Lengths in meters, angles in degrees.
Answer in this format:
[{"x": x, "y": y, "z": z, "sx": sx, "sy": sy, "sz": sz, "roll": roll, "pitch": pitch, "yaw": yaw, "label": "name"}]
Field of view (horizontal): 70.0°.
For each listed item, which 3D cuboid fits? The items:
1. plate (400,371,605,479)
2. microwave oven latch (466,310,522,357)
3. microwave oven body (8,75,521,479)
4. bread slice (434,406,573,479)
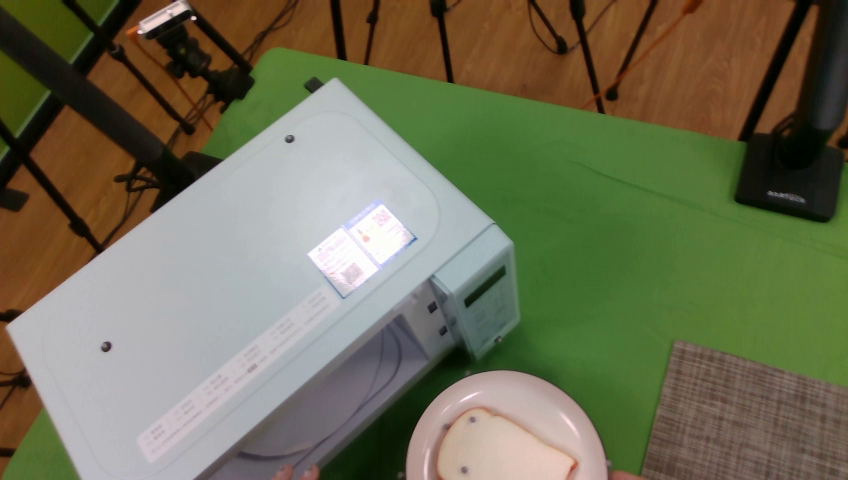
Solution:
[{"x": 0.081, "y": 0.243, "z": 0.633, "sx": 0.207, "sy": 0.039, "sz": 0.206, "roll": -3, "pitch": 61, "yaw": 6, "label": "plate"}, {"x": 0.088, "y": 0.110, "z": 0.760, "sx": 0.079, "sy": 0.030, "sz": 0.030, "roll": -39, "pitch": 64, "yaw": -8, "label": "microwave oven latch"}, {"x": -0.157, "y": 0.087, "z": 0.708, "sx": 0.441, "sy": 0.262, "sz": 0.323, "roll": -41, "pitch": 64, "yaw": -9, "label": "microwave oven body"}, {"x": 0.076, "y": 0.240, "z": 0.638, "sx": 0.131, "sy": 0.019, "sz": 0.104, "roll": 28, "pitch": 68, "yaw": 19, "label": "bread slice"}]
